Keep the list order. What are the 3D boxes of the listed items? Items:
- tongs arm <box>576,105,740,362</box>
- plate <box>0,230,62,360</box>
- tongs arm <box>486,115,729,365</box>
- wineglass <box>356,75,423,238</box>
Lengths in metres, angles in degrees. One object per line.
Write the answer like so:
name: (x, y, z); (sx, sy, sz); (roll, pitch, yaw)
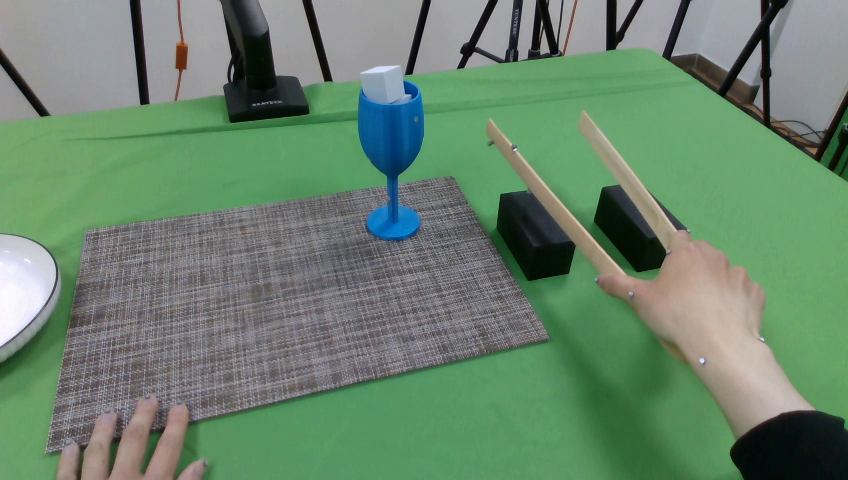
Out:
tongs arm: (0.230, -0.035, 0.643); (0.028, 0.028, 0.383); (0, 42, -13)
plate: (-0.459, 0.068, 0.580); (0.209, 0.038, 0.207); (1, 40, -1)
tongs arm: (0.163, -0.025, 0.625); (0.051, 0.027, 0.380); (-9, 44, -18)
wineglass: (-0.037, -0.089, 0.674); (0.074, 0.174, 0.073); (1, 40, 0)
